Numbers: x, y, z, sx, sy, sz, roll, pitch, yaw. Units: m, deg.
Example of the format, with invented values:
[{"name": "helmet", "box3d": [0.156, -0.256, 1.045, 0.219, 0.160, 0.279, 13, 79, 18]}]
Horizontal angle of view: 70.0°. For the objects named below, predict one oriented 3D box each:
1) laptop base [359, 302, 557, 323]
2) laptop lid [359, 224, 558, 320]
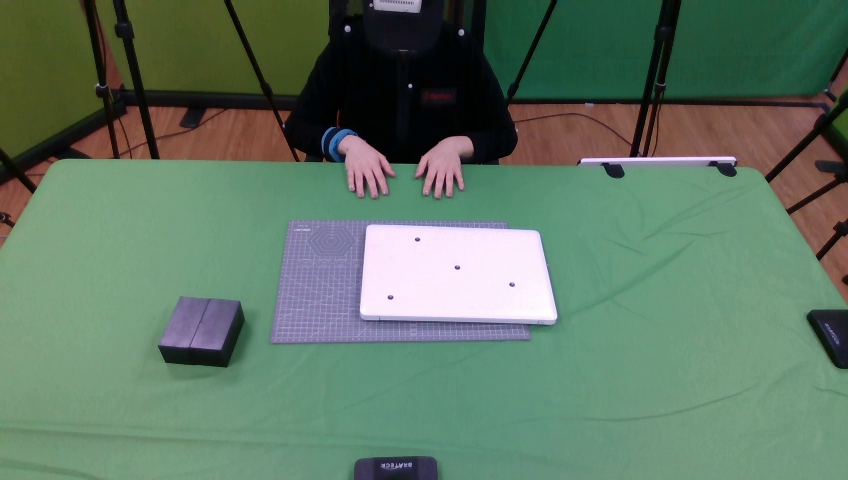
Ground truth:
[{"name": "laptop base", "box3d": [0.061, 0.063, 1.144, 0.354, 0.023, 0.234, 2, 43, -3]}, {"name": "laptop lid", "box3d": [0.062, 0.053, 1.137, 0.357, 0.013, 0.240, 3, 44, -2]}]
